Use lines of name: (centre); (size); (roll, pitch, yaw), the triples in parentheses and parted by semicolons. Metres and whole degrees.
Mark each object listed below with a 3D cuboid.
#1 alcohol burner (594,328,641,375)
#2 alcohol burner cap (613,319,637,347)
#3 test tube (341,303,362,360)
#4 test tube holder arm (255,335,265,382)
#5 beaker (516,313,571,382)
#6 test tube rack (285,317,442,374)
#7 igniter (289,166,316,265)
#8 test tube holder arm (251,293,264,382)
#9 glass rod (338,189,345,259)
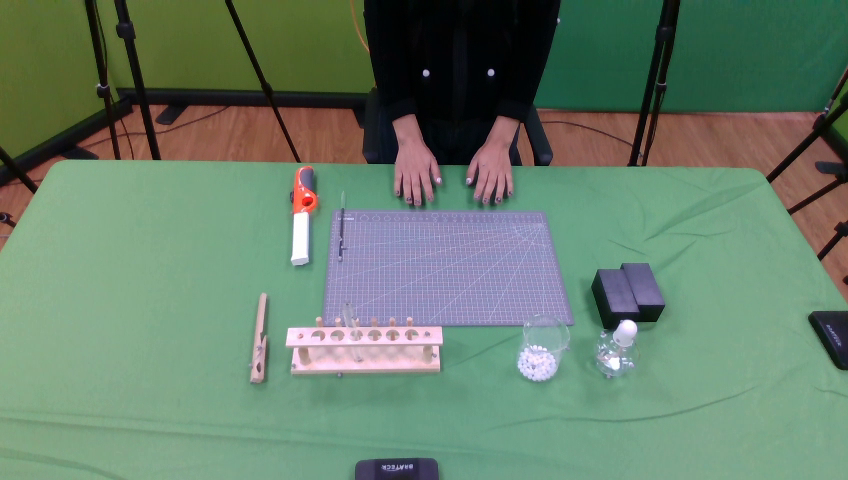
alcohol burner: (0.322, 0.170, 0.994); (0.078, 0.119, 0.077); (3, 48, -3)
alcohol burner cap: (0.323, 0.146, 0.966); (0.034, 0.048, 0.033); (-1, 52, 2)
test tube: (-0.111, 0.145, 0.938); (0.017, 0.151, 0.017); (-1, 50, 2)
test tube holder arm: (-0.270, 0.193, 0.997); (0.010, 0.015, 0.087); (24, 36, -31)
beaker: (0.190, 0.180, 0.985); (0.073, 0.101, 0.084); (30, 52, 24)
test tube rack: (-0.095, 0.166, 0.988); (0.242, 0.085, 0.066); (0, 46, -4)
igniter: (-0.248, -0.058, 1.233); (0.057, 0.025, 0.274); (-9, 47, 1)
test tube holder arm: (-0.281, 0.160, 1.025); (0.013, 0.015, 0.177); (23, 36, -32)
glass rod: (-0.166, -0.037, 1.226); (0.008, 0.008, 0.198); (-1, 47, -4)
